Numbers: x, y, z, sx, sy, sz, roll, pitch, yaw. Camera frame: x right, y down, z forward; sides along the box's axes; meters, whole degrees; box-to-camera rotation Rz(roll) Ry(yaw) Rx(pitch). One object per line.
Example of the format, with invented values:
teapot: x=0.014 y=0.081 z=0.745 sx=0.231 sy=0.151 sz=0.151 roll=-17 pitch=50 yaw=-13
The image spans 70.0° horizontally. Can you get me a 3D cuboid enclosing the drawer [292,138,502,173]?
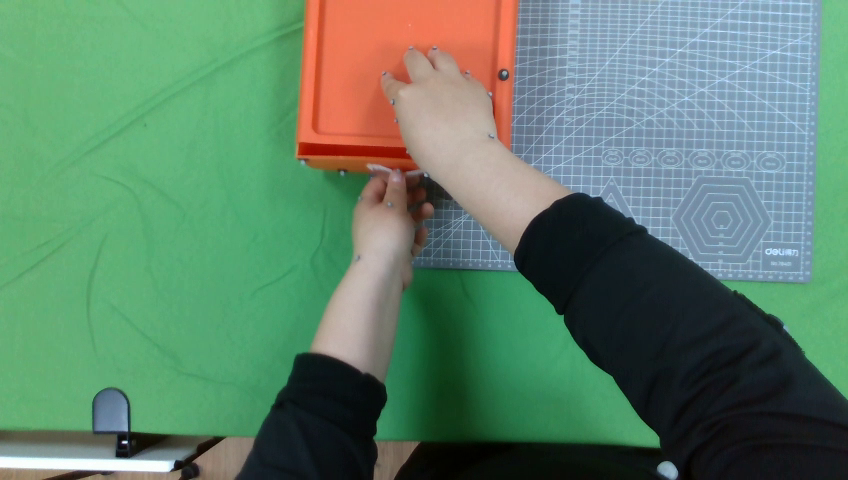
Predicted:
drawer: x=-0.017 y=-0.174 z=0.587 sx=0.194 sy=0.073 sz=0.211 roll=3 pitch=88 yaw=4

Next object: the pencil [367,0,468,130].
pencil: x=-0.013 y=-0.188 z=0.607 sx=0.012 sy=0.012 sz=0.194 roll=-36 pitch=88 yaw=3

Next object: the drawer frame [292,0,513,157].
drawer frame: x=-0.017 y=-0.190 z=0.588 sx=0.201 sy=0.083 sz=0.213 roll=2 pitch=89 yaw=5
